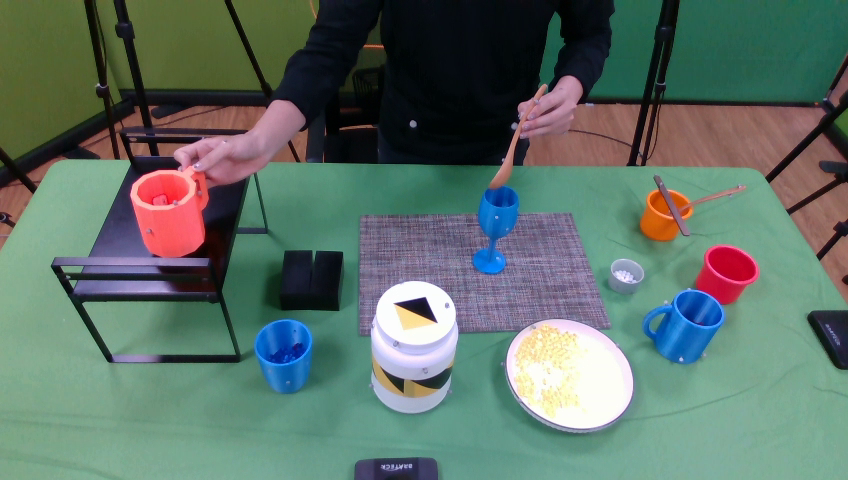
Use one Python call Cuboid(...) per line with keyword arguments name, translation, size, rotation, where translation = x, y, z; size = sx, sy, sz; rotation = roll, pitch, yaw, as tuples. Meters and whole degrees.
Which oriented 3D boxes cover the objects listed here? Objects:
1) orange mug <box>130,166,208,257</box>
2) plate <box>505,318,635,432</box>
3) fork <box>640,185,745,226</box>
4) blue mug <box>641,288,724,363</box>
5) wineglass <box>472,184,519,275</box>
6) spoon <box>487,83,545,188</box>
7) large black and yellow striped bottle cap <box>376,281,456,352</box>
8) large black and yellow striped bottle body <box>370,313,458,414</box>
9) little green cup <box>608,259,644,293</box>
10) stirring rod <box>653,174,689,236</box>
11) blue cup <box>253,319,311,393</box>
Cuboid(name="orange mug", translation=(-0.364, -0.050, 0.891), size=(0.083, 0.101, 0.125), rotation=(20, 50, 9))
Cuboid(name="plate", translation=(0.235, 0.221, 0.991), size=(0.209, 0.038, 0.208), rotation=(2, 45, -2))
Cuboid(name="fork", translation=(0.534, -0.069, 1.215), size=(0.207, 0.019, 0.028), rotation=(-26, 27, 33))
Cuboid(name="blue mug", translation=(0.432, 0.144, 1.033), size=(0.116, 0.106, 0.082), rotation=(9, 46, 5))
Cuboid(name="wineglass", translation=(0.129, -0.018, 1.113), size=(0.074, 0.173, 0.073), rotation=(2, 46, -2))
Cuboid(name="spoon", translation=(0.153, -0.170, 1.005), size=(0.021, 0.194, 0.042), rotation=(34, 21, 33))
Cuboid(name="large black and yellow striped bottle cap", translation=(-0.011, 0.107, 0.863), size=(0.115, 0.019, 0.114), rotation=(2, 47, -2))
Cuboid(name="large black and yellow striped bottle body", translation=(-0.017, 0.165, 0.924), size=(0.131, 0.185, 0.130), rotation=(2, 46, -2))
Cuboid(name="little green cup", translation=(0.379, 0.070, 1.147), size=(0.061, 0.039, 0.061), rotation=(3, 45, -3))
Cuboid(name="stirring rod", translation=(0.491, -0.072, 1.211), size=(0.014, 0.006, 0.175), rotation=(0, 47, -6))
Cuboid(name="blue cup", translation=(-0.217, 0.187, 0.943), size=(0.093, 0.101, 0.092), rotation=(3, 45, -3))
